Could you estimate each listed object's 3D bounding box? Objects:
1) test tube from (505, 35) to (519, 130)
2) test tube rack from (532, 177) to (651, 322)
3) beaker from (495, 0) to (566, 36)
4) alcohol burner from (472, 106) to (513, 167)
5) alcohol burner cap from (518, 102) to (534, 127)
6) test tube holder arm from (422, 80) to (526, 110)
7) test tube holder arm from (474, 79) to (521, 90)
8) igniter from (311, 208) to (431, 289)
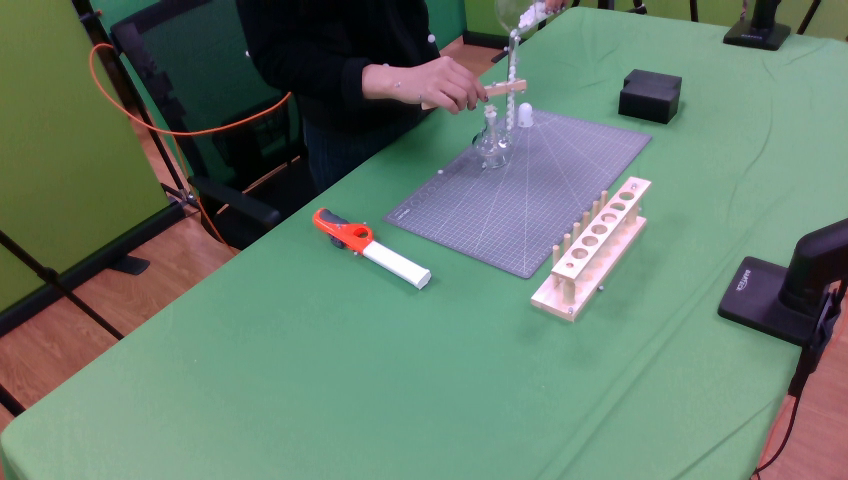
[{"bbox_3d":[0.141,-0.251,0.972,0.017,0.150,0.017,-1,25,1],"label":"test tube"},{"bbox_3d":[0.247,0.002,0.883,0.066,0.085,0.243,22,49,32],"label":"test tube rack"},{"bbox_3d":[0.169,-0.371,0.940,0.073,0.084,0.100,31,51,27],"label":"beaker"},{"bbox_3d":[0.125,-0.194,1.111,0.078,0.119,0.077,-5,42,5],"label":"alcohol burner"},{"bbox_3d":[0.205,-0.255,1.223,0.034,0.048,0.033,-6,40,6],"label":"alcohol burner cap"},{"bbox_3d":[0.080,-0.229,0.948,0.179,0.015,0.013,-16,25,-18],"label":"test tube holder arm"},{"bbox_3d":[0.118,-0.243,0.968,0.088,0.015,0.010,-20,27,-24],"label":"test tube holder arm"},{"bbox_3d":[-0.096,0.008,0.986,0.274,0.025,0.057,28,63,36],"label":"igniter"}]
